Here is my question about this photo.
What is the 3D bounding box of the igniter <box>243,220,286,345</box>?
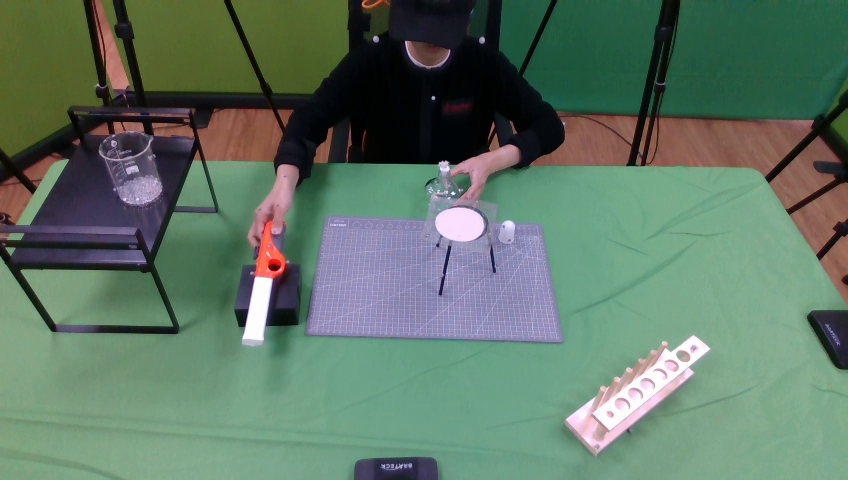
[{"bbox_3d":[-0.272,0.061,1.039,0.057,0.025,0.274,9,44,-12],"label":"igniter"}]

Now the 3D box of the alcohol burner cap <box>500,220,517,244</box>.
[{"bbox_3d":[0.170,-0.018,1.205,0.034,0.048,0.033,1,46,0],"label":"alcohol burner cap"}]

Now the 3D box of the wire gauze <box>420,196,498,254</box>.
[{"bbox_3d":[0.062,-0.032,1.054,0.125,0.011,0.121,9,46,8],"label":"wire gauze"}]

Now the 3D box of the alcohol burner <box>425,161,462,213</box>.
[{"bbox_3d":[0.042,-0.115,1.245,0.078,0.119,0.077,3,46,-3],"label":"alcohol burner"}]

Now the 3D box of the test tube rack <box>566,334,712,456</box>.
[{"bbox_3d":[0.338,0.228,0.950,0.242,0.085,0.066,-27,52,-26],"label":"test tube rack"}]

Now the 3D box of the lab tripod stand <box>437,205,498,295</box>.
[{"bbox_3d":[0.066,0.010,1.107,0.148,0.132,0.147,0,46,0],"label":"lab tripod stand"}]

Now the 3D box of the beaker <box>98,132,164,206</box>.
[{"bbox_3d":[-0.460,-0.112,0.968,0.073,0.101,0.084,37,54,28],"label":"beaker"}]
